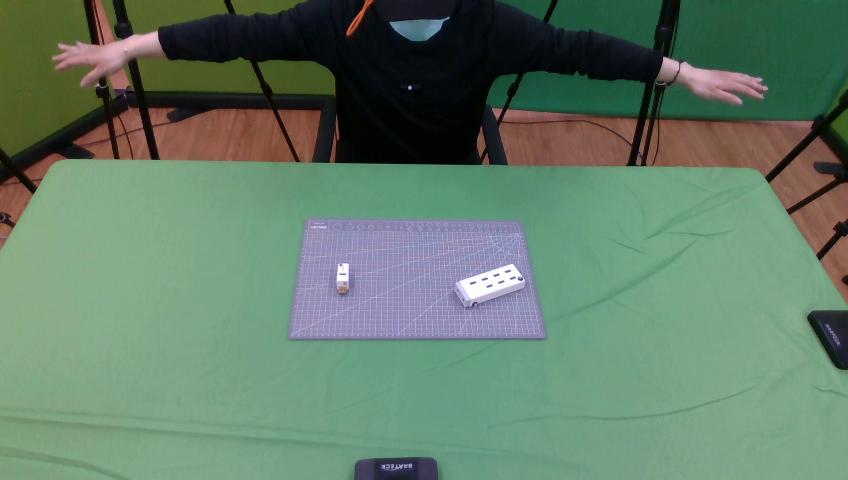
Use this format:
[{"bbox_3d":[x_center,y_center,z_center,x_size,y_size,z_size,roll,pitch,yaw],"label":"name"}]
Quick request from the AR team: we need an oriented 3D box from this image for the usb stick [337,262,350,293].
[{"bbox_3d":[-0.148,0.070,1.109,0.021,0.027,0.059,1,49,-5],"label":"usb stick"}]

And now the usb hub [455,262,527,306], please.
[{"bbox_3d":[0.124,0.082,1.117,0.125,0.025,0.049,-17,50,-18],"label":"usb hub"}]
